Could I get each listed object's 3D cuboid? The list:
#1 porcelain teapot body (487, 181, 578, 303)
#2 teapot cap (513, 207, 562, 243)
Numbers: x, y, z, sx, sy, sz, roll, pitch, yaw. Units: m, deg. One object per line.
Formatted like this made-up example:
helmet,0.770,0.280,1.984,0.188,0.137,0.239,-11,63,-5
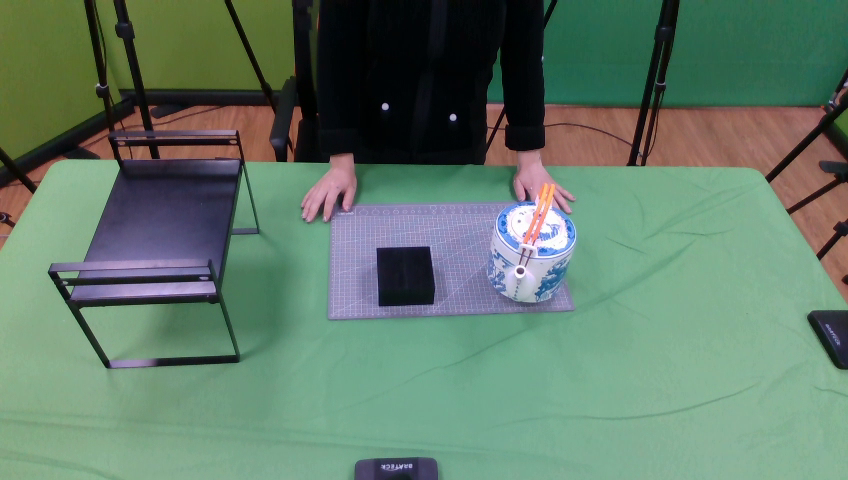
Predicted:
porcelain teapot body,0.185,0.018,1.048,0.145,0.226,0.204,15,48,10
teapot cap,0.196,-0.029,1.039,0.085,0.044,0.084,4,49,-4
